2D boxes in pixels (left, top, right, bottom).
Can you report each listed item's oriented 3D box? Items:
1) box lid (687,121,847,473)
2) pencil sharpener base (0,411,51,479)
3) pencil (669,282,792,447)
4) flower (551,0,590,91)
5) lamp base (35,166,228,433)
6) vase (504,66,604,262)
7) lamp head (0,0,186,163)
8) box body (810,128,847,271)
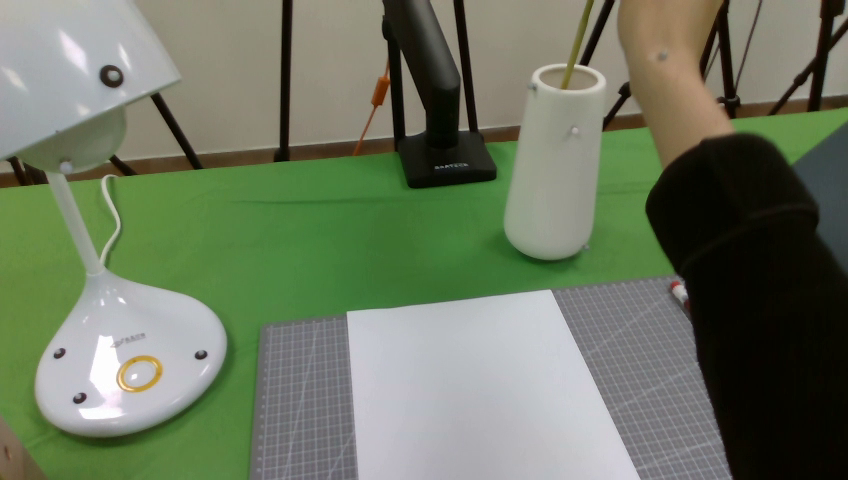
[{"bbox_3d":[0.401,0.046,0.482,0.015,0.263,0.367,33,25,-31],"label":"box lid"},{"bbox_3d":[-0.302,0.171,0.396,0.077,0.108,0.060,-20,43,-23],"label":"pencil sharpener base"},{"bbox_3d":[0.274,0.105,0.553,0.012,0.012,0.192,-7,39,-8],"label":"pencil"},{"bbox_3d":[0.131,-0.197,0.459,0.044,0.364,0.038,-6,64,-7],"label":"flower"},{"bbox_3d":[-0.269,0.039,0.506,0.161,0.182,0.177,-28,44,-31],"label":"lamp base"},{"bbox_3d":[0.136,-0.075,0.635,0.098,0.202,0.097,-1,37,1],"label":"vase"},{"bbox_3d":[-0.201,-0.109,0.302,0.112,0.123,0.111,-25,18,9],"label":"lamp head"},{"bbox_3d":[0.579,0.020,0.540,0.254,0.162,0.360,-6,38,-7],"label":"box body"}]
